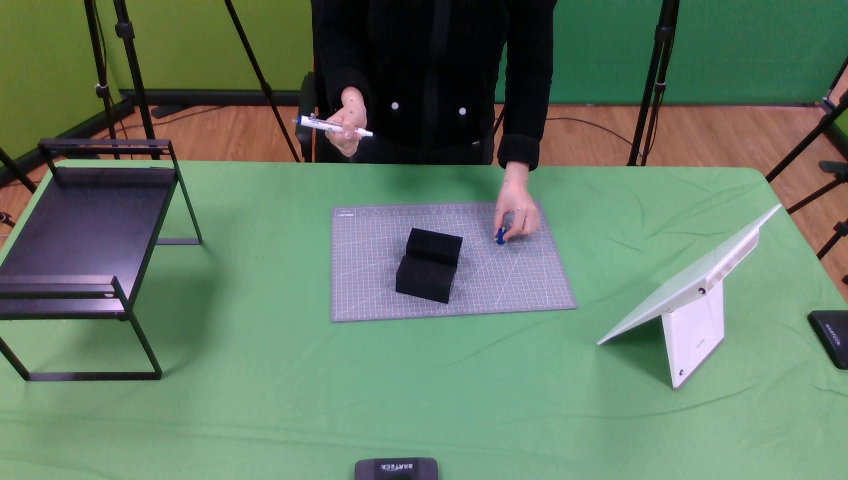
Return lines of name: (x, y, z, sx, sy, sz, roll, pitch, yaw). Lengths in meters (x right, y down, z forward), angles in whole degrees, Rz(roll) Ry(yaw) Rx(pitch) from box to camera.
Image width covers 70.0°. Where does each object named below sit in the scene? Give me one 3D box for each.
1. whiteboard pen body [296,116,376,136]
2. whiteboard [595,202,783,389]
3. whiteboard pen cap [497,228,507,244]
whiteboard pen body: (-0.152, -0.197, 1.057, 0.141, 0.017, 0.017, 7, 44, -20)
whiteboard: (0.459, 0.112, 0.968, 0.217, 0.306, 0.143, -31, 74, -29)
whiteboard pen cap: (0.155, -0.007, 1.203, 0.018, 0.033, 0.018, 0, 38, 0)
